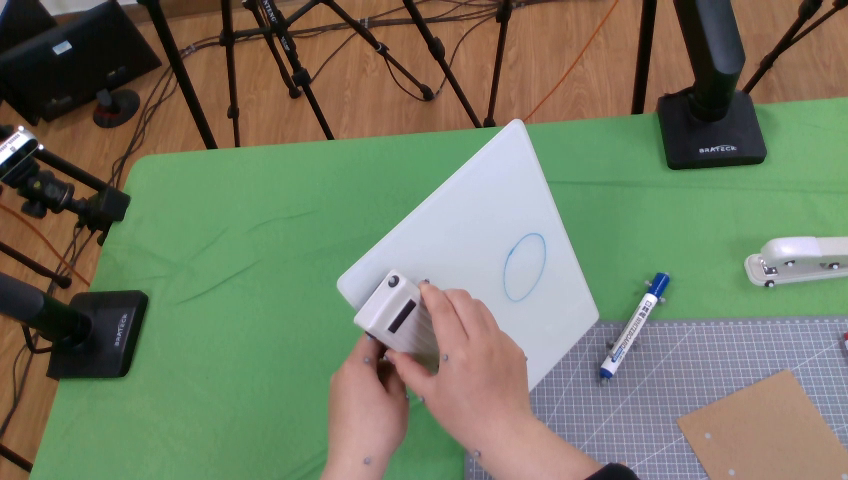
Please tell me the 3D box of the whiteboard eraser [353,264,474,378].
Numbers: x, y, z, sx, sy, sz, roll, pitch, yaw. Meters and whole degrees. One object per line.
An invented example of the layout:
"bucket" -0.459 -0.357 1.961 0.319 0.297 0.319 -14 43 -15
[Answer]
"whiteboard eraser" -0.008 0.070 0.518 0.055 0.114 0.041 -50 40 -5

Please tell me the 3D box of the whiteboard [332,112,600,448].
"whiteboard" 0.031 0.034 0.643 0.217 0.309 0.142 -42 41 -12

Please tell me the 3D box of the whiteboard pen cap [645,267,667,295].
"whiteboard pen cap" 0.273 0.049 0.714 0.018 0.018 0.033 26 68 23

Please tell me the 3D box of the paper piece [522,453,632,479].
"paper piece" 0.159 0.297 0.605 0.135 0.004 0.134 -16 60 2

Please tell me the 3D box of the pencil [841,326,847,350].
"pencil" 0.458 0.178 0.611 0.012 0.012 0.192 -6 63 8

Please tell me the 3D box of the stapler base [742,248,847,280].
"stapler base" 0.441 0.018 0.699 0.130 0.024 0.041 -7 63 5

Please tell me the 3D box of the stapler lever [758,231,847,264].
"stapler lever" 0.438 0.006 0.678 0.118 0.040 0.026 -8 63 7

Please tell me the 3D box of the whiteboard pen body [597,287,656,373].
"whiteboard pen body" 0.239 0.093 0.698 0.017 0.017 0.140 29 71 24

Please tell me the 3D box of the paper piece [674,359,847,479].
"paper piece" 0.351 0.210 0.616 0.136 0.009 0.137 -25 62 3
